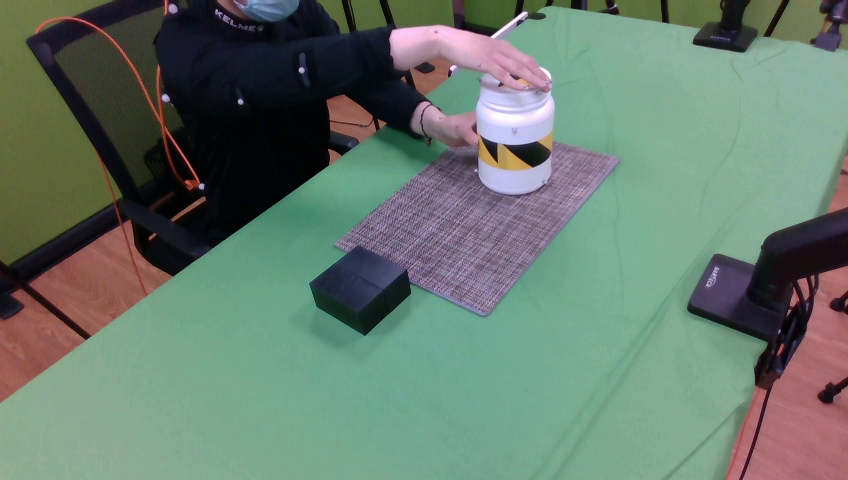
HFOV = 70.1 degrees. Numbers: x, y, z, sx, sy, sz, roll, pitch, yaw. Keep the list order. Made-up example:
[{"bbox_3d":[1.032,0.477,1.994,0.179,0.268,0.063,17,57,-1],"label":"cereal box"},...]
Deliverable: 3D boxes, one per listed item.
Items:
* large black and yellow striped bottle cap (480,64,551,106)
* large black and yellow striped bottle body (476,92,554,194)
[{"bbox_3d":[0.147,-0.252,0.976,0.115,0.019,0.114,-5,40,5],"label":"large black and yellow striped bottle cap"},{"bbox_3d":[0.155,-0.186,1.033,0.131,0.185,0.130,-4,41,4],"label":"large black and yellow striped bottle body"}]
